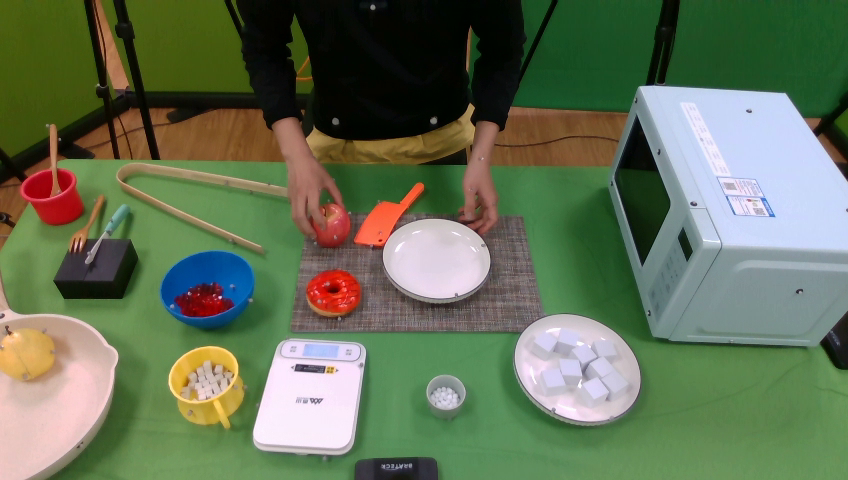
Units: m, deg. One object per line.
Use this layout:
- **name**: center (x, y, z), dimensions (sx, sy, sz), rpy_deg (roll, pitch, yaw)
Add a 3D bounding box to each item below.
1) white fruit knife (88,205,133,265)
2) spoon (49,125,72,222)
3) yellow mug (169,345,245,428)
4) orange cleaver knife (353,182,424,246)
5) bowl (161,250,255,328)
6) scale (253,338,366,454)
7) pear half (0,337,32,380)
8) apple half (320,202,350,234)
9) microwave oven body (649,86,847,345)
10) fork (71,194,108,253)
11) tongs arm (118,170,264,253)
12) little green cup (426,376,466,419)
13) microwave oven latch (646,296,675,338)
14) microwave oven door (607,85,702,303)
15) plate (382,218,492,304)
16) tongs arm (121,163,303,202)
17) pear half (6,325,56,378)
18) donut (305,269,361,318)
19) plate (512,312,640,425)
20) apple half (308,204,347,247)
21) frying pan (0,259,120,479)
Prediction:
- **white fruit knife**: center (-0.584, -0.013, 1.129), dimensions (0.016, 0.027, 0.206), rpy_deg (0, 32, -5)
- **spoon**: center (-0.718, -0.131, 1.189), dimensions (0.041, 0.021, 0.193), rpy_deg (-4, 90, -7)
- **yellow mug**: center (-0.322, 0.230, 0.922), dimensions (0.100, 0.064, 0.130), rpy_deg (-24, 53, -25)
- **orange cleaver knife**: center (-0.070, -0.058, 1.246), dimensions (0.077, 0.012, 0.210), rpy_deg (18, 49, 21)
- **bowl**: center (-0.362, 0.098, 1.039), dimensions (0.151, 0.077, 0.150), rpy_deg (2, 45, -2)
- **scale**: center (-0.175, 0.236, 0.951), dimensions (0.149, 0.032, 0.199), rpy_deg (4, 45, -1)
- **pear half**: center (-0.631, 0.184, 0.921), dimensions (0.070, 0.088, 0.031), rpy_deg (29, 49, 19)
- **apple half**: center (-0.167, -0.044, 1.185), dimensions (0.081, 0.082, 0.033), rpy_deg (34, 60, 26)
- **microwave oven body**: center (0.568, -0.053, 1.118), dimensions (0.326, 0.261, 0.439), rpy_deg (2, 45, -1)
- **fork**: center (-0.634, -0.036, 1.158), dimensions (0.028, 0.019, 0.206), rpy_deg (-8, 32, -8)
- **tongs arm**: center (-0.473, -0.057, 1.209), dimensions (0.386, 0.028, 0.028), rpy_deg (23, 55, 17)
- **little green cup**: center (0.033, 0.248, 0.950), dimensions (0.061, 0.039, 0.061), rpy_deg (2, 46, -2)
- **microwave oven latch**: center (0.412, 0.134, 1.061), dimensions (0.030, 0.029, 0.078), rpy_deg (4, 45, 1)
- **microwave oven door**: center (0.423, -0.094, 1.140), dimensions (0.039, 0.245, 0.353), rpy_deg (2, 46, -1)
- **plate**: center (0.023, 0.042, 1.143), dimensions (0.209, 0.038, 0.208), rpy_deg (2, 46, -2)
- **tongs arm**: center (-0.444, -0.115, 1.266), dimensions (0.384, 0.026, 0.050), rpy_deg (12, 49, 7)
- **pear half**: center (-0.608, 0.158, 0.935), dimensions (0.076, 0.110, 0.056), rpy_deg (31, 51, 20)
- **donut**: center (-0.160, 0.094, 1.075), dimensions (0.099, 0.048, 0.098), rpy_deg (4, 45, -3)
- **plate**: center (0.246, 0.213, 0.999), dimensions (0.208, 0.039, 0.206), rpy_deg (2, 46, -2)
- **apple half**: center (-0.192, -0.021, 1.164), dimensions (0.080, 0.075, 0.053), rpy_deg (35, 57, 22)
- **frying pan**: center (-0.647, 0.164, 0.936), dimensions (0.307, 0.103, 0.485), rpy_deg (-19, 58, -22)
